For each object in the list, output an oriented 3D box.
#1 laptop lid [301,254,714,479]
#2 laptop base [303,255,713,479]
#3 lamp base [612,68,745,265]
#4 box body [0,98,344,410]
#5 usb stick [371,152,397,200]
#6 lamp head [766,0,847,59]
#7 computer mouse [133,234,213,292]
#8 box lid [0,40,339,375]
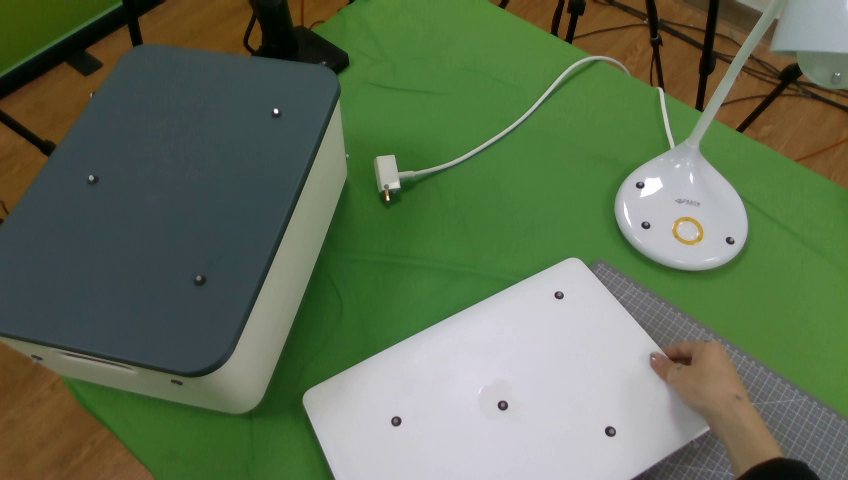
[{"bbox_3d":[0.078,0.163,0.607,0.357,0.013,0.239,-24,55,-13],"label":"laptop lid"},{"bbox_3d":[0.078,0.169,0.618,0.354,0.023,0.233,-25,57,-14],"label":"laptop base"},{"bbox_3d":[0.314,-0.091,0.695,0.160,0.182,0.177,0,55,1],"label":"lamp base"},{"bbox_3d":[-0.254,-0.020,0.665,0.254,0.162,0.361,10,59,6],"label":"box body"},{"bbox_3d":[-0.051,-0.082,0.777,0.027,0.021,0.059,-6,88,-21],"label":"usb stick"},{"bbox_3d":[0.315,-0.189,0.427,0.112,0.112,0.123,7,102,5],"label":"lamp head"},{"bbox_3d":[-0.289,0.018,0.700,0.063,0.041,0.116,-16,19,1],"label":"computer mouse"},{"bbox_3d":[-0.254,-0.061,0.603,0.263,0.015,0.368,10,59,7],"label":"box lid"}]
